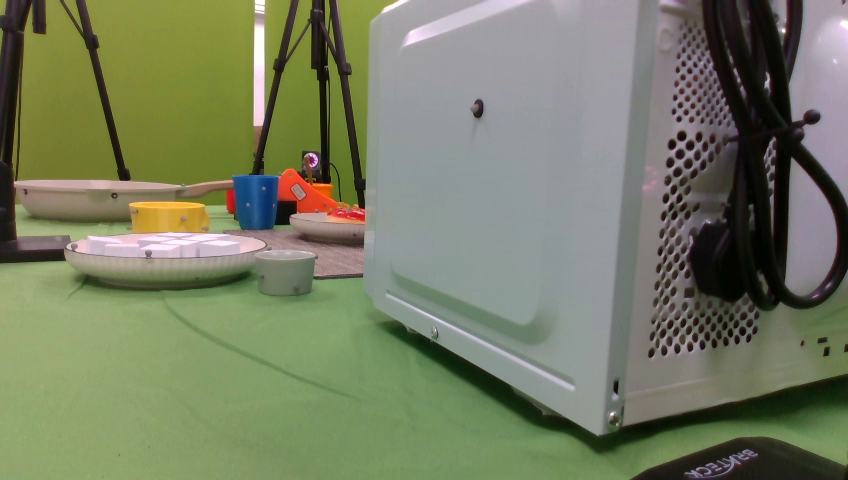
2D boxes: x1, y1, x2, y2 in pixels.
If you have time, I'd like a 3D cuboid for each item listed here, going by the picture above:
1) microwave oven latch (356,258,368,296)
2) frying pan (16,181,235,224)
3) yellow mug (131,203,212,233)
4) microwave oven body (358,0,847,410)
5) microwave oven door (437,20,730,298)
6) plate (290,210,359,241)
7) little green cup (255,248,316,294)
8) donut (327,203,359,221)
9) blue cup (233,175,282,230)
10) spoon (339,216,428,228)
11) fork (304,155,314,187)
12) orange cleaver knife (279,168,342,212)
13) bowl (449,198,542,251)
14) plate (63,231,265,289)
[{"bbox_3d":[-0.019,0.031,0.528,0.079,0.029,0.030,-1,7,-25],"label":"microwave oven latch"},{"bbox_3d":[-0.554,-0.096,1.266,0.490,0.102,0.305,-10,13,-24],"label":"frying pan"},{"bbox_3d":[-0.356,-0.020,0.878,0.099,0.064,0.131,4,7,22],"label":"yellow mug"},{"bbox_3d":[0.210,-0.051,0.471,0.444,0.260,0.324,-1,7,-28],"label":"microwave oven body"},{"bbox_3d":[0.181,-0.076,0.618,0.358,0.243,0.039,-2,9,-28],"label":"microwave oven door"},{"bbox_3d":[-0.127,-0.025,1.051,0.209,0.038,0.209,2,7,0],"label":"plate"},{"bbox_3d":[-0.144,0.032,0.626,0.061,0.038,0.061,4,7,0],"label":"little green cup"},{"bbox_3d":[-0.120,-0.037,1.056,0.099,0.048,0.099,5,7,0],"label":"donut"},{"bbox_3d":[-0.314,-0.071,1.141,0.093,0.100,0.092,0,7,0],"label":"blue cup"},{"bbox_3d":[-0.087,-0.041,1.268,0.193,0.021,0.041,4,27,13],"label":"spoon"},{"bbox_3d":[-0.268,-0.134,1.446,0.028,0.018,0.207,1,-36,-1],"label":"fork"},{"bbox_3d":[-0.236,-0.084,1.333,0.212,0.077,0.012,31,-10,-32],"label":"orange cleaver knife"},{"bbox_3d":[0.114,-0.026,0.988,0.151,0.077,0.151,2,8,0],"label":"bowl"},{"bbox_3d":[-0.288,0.021,0.687,0.208,0.039,0.207,2,8,0],"label":"plate"}]
